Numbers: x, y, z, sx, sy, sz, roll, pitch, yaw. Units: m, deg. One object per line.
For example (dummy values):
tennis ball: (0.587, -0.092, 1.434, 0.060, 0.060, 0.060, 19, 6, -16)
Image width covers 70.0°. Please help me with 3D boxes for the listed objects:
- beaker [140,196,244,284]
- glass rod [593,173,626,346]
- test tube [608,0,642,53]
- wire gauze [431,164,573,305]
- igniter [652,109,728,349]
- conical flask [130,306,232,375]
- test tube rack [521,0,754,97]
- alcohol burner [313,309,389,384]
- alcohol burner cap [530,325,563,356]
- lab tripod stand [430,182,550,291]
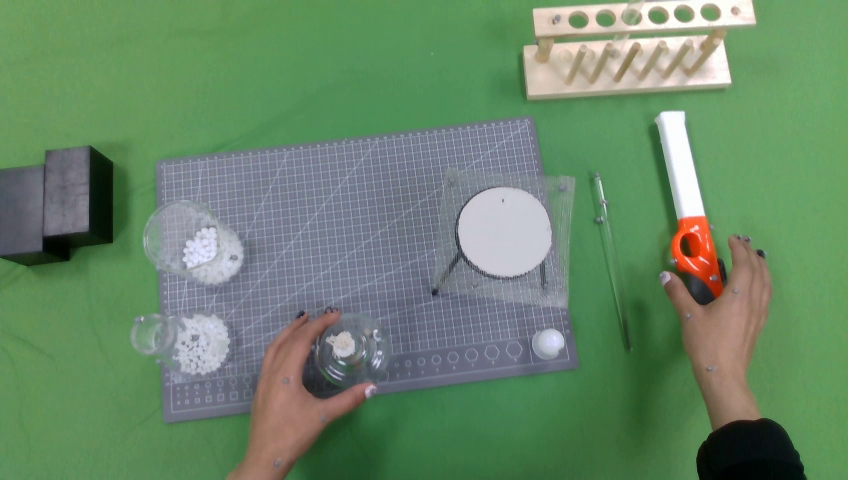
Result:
beaker: (-0.236, 0.006, 0.641, 0.084, 0.100, 0.074, 29, 78, 7)
glass rod: (0.209, 0.020, 0.684, 0.008, 0.008, 0.199, -6, 79, -1)
test tube: (0.222, -0.246, 0.656, 0.017, 0.151, 0.017, -1, 76, 3)
wire gauze: (0.073, -0.008, 0.555, 0.125, 0.011, 0.121, 7, 78, 3)
igniter: (0.298, -0.018, 0.682, 0.057, 0.025, 0.275, -3, 77, -10)
conical flask: (-0.247, 0.096, 0.608, 0.075, 0.122, 0.075, 0, 76, 1)
test tube rack: (0.240, -0.222, 0.701, 0.242, 0.085, 0.066, -3, 76, 0)
alcohol burner: (-0.076, 0.106, 0.609, 0.078, 0.119, 0.077, -1, 77, 3)
alcohol burner cap: (0.132, 0.105, 0.644, 0.034, 0.048, 0.033, 0, 75, 1)
lab tripod stand: (0.070, 0.007, 0.621, 0.148, 0.132, 0.147, 0, 78, 1)
